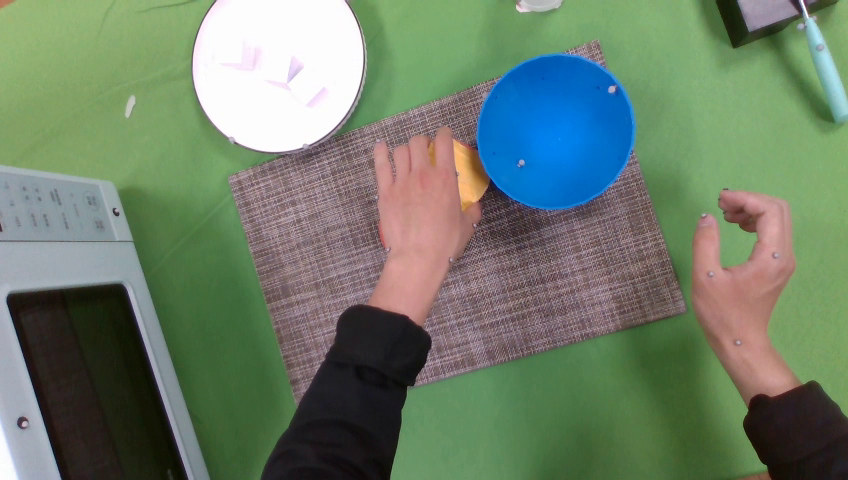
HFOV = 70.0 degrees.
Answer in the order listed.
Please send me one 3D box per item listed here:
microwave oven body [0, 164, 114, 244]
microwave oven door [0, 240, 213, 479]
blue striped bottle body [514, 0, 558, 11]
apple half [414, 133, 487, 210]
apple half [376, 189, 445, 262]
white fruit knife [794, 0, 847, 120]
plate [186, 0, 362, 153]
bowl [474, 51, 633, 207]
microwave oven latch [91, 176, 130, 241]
[{"bbox_3d":[-0.478,0.181,0.644,0.326,0.260,0.441,-20,88,10],"label":"microwave oven body"},{"bbox_3d":[-0.329,0.172,0.611,0.039,0.244,0.355,-20,87,10],"label":"microwave oven door"},{"bbox_3d":[0.112,-0.279,0.599,0.063,0.121,0.063,0,90,11],"label":"blue striped bottle body"},{"bbox_3d":[0.026,-0.072,0.642,0.081,0.032,0.081,0,101,1],"label":"apple half"},{"bbox_3d":[-0.021,-0.008,0.650,0.053,0.074,0.080,-39,88,13],"label":"apple half"},{"bbox_3d":[0.361,-0.205,0.572,0.016,0.027,0.208,-24,104,27],"label":"white fruit knife"},{"bbox_3d":[-0.169,-0.201,0.696,0.207,0.039,0.207,0,91,10],"label":"plate"},{"bbox_3d":[0.129,-0.106,0.617,0.151,0.077,0.151,0,91,11],"label":"bowl"},{"bbox_3d":[-0.380,-0.035,0.720,0.030,0.029,0.079,-19,88,10],"label":"microwave oven latch"}]
